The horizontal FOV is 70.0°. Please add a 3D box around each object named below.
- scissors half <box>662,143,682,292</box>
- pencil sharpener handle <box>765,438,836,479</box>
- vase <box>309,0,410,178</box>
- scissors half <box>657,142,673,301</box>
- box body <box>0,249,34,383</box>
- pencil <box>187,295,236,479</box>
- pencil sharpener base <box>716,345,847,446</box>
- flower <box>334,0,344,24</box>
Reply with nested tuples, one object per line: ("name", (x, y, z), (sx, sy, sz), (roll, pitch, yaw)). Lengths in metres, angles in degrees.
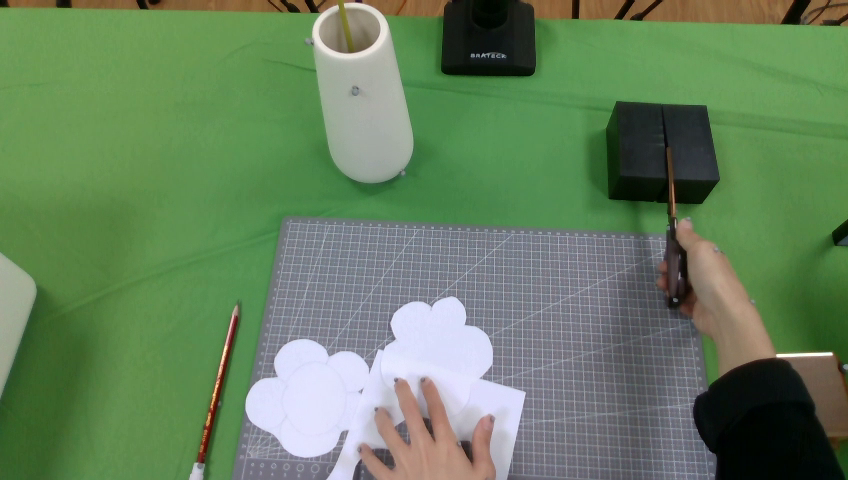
("scissors half", (0.252, -0.029, 0.619), (0.013, 0.040, 0.174), (5, 61, 7))
("pencil sharpener handle", (0.314, 0.185, 0.505), (0.036, 0.068, 0.030), (4, 64, -12))
("vase", (-0.067, -0.151, 0.634), (0.098, 0.201, 0.097), (-1, 63, 2))
("scissors half", (0.255, -0.022, 0.638), (0.013, 0.040, 0.174), (4, 79, 13))
("box body", (-0.542, 0.149, 0.518), (0.254, 0.161, 0.361), (3, 64, 2))
("pencil", (-0.207, 0.144, 0.601), (0.012, 0.012, 0.192), (3, 63, 3))
("pencil sharpener base", (0.317, 0.145, 0.538), (0.061, 0.108, 0.076), (-1, 65, 0))
("flower", (-0.075, -0.199, 0.565), (0.044, 0.365, 0.038), (-4, 46, 3))
